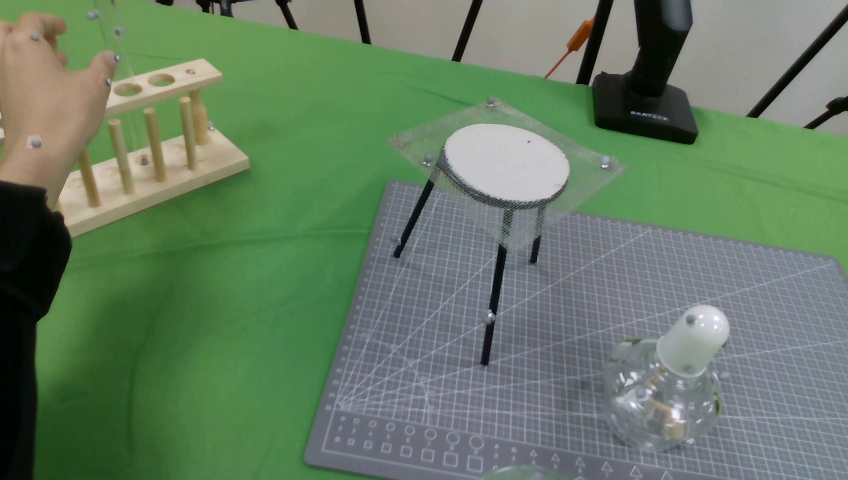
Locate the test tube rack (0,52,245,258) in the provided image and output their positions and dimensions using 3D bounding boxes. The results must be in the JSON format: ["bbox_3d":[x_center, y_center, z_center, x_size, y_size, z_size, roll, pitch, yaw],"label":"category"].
[{"bbox_3d":[-0.275,-0.073,0.498,0.242,0.086,0.066,-30,57,-34],"label":"test tube rack"}]

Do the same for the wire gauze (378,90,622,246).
[{"bbox_3d":[0.052,-0.059,0.408,0.121,0.011,0.124,-31,58,-33],"label":"wire gauze"}]

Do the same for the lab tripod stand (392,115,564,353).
[{"bbox_3d":[0.046,-0.012,0.455,0.149,0.132,0.147,6,45,-6],"label":"lab tripod stand"}]

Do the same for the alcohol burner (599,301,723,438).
[{"bbox_3d":[0.160,0.079,0.397,0.078,0.120,0.077,6,43,-6],"label":"alcohol burner"}]

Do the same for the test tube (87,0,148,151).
[{"bbox_3d":[-0.251,-0.139,0.497,0.017,0.151,0.017,3,41,-2],"label":"test tube"}]

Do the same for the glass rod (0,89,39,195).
[{"bbox_3d":[-0.316,-0.118,0.440,0.008,0.201,0.008,3,37,-2],"label":"glass rod"}]

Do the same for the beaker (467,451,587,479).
[{"bbox_3d":[0.040,0.164,0.303,0.084,0.101,0.073,3,44,-6],"label":"beaker"}]

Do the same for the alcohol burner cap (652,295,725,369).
[{"bbox_3d":[0.164,0.054,0.371,0.034,0.048,0.033,4,48,-4],"label":"alcohol burner cap"}]
